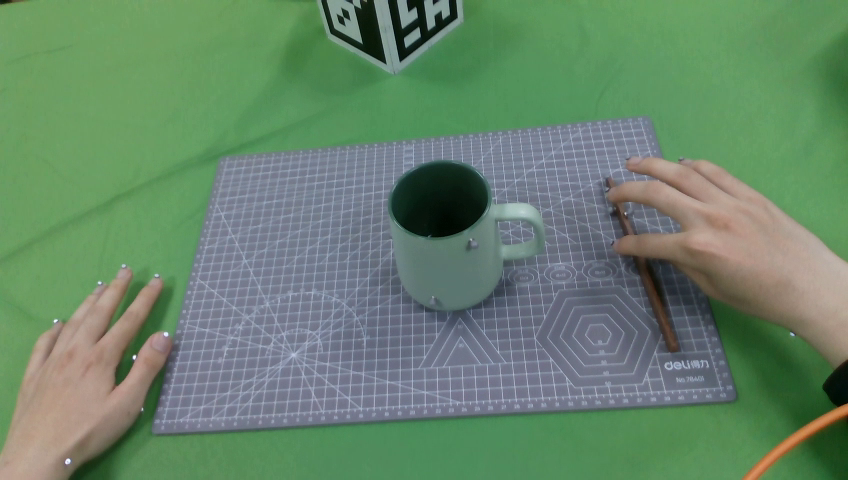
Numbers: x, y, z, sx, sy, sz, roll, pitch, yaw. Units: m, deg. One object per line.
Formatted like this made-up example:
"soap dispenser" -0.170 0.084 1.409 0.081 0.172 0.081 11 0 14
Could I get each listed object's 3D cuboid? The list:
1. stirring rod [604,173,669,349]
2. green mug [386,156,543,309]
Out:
"stirring rod" 0.177 0.011 0.512 0.006 0.014 0.174 -5 54 -1
"green mug" 0.033 -0.005 0.490 0.125 0.106 0.091 -3 55 6
